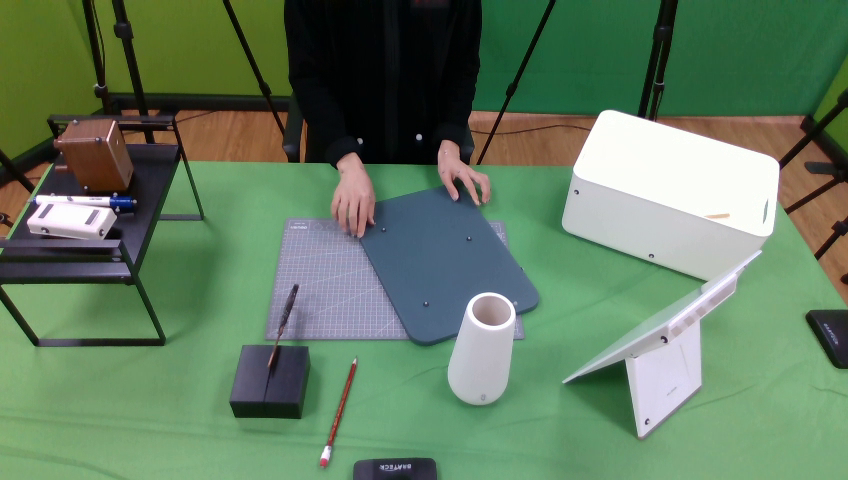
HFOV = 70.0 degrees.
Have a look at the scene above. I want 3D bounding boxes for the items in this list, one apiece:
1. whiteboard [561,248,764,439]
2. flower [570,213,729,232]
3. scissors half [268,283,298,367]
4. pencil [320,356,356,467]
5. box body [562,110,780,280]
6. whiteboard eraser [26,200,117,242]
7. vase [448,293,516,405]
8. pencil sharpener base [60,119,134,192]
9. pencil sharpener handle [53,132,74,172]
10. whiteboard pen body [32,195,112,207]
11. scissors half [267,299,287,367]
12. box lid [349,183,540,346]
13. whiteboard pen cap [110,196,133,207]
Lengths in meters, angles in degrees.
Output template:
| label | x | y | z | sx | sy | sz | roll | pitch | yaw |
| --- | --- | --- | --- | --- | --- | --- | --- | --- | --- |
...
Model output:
| label | x | y | z | sx | sy | sz | roll | pitch | yaw |
| --- | --- | --- | --- | --- | --- | --- | --- | --- | --- |
| whiteboard | 0.386 | 0.176 | 0.905 | 0.217 | 0.306 | 0.143 | -26 | 72 | -27 |
| flower | 0.479 | -0.041 | 1.268 | 0.362 | 0.038 | 0.044 | -3 | 17 | -12 |
| scissors half | -0.230 | 0.135 | 0.986 | 0.013 | 0.040 | 0.174 | 19 | 43 | -10 |
| pencil | -0.130 | 0.261 | 0.946 | 0.012 | 0.012 | 0.193 | 10 | 45 | 5 |
| box body | 0.486 | -0.089 | 1.222 | 0.363 | 0.161 | 0.253 | 20 | 48 | 15 |
| whiteboard eraser | -0.532 | -0.026 | 0.919 | 0.113 | 0.042 | 0.055 | 7 | 45 | 3 |
| vase | 0.091 | 0.169 | 0.921 | 0.098 | 0.201 | 0.097 | 3 | 47 | -3 |
| pencil sharpener base | -0.528 | -0.135 | 0.979 | 0.077 | 0.107 | 0.061 | -4 | 47 | -7 |
| pencil sharpener handle | -0.578 | -0.138 | 0.961 | 0.031 | 0.068 | 0.036 | -4 | 34 | -7 |
| whiteboard pen body | -0.543 | -0.061 | 0.961 | 0.141 | 0.017 | 0.017 | 1 | 46 | -10 |
| scissors half | -0.239 | 0.150 | 0.997 | 0.013 | 0.040 | 0.174 | 24 | 24 | -13 |
| box lid | 0.030 | 0.031 | 1.176 | 0.263 | 0.015 | 0.369 | -16 | 49 | -18 |
| whiteboard pen cap | -0.486 | -0.061 | 0.972 | 0.033 | 0.018 | 0.018 | 0 | 47 | -9 |
